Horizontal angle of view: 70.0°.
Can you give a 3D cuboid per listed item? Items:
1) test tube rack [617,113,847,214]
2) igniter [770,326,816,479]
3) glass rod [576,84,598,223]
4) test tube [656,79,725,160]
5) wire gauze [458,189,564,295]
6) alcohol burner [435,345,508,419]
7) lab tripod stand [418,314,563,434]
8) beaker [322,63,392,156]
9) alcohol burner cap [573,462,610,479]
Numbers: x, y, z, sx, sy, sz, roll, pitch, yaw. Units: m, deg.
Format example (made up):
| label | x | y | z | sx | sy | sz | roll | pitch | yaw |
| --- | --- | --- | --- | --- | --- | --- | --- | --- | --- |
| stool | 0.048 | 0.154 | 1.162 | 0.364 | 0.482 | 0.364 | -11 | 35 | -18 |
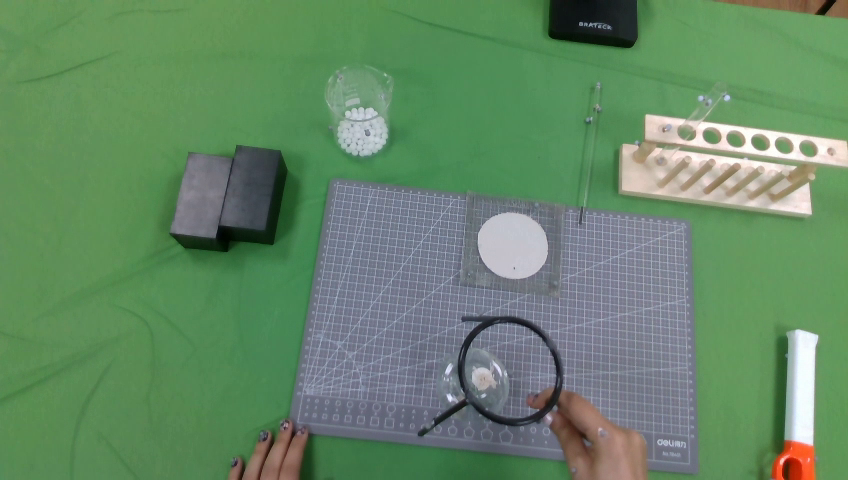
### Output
| label | x | y | z | sx | sy | sz | roll | pitch | yaw |
| --- | --- | --- | --- | --- | --- | --- | --- | --- | --- |
| test tube rack | 0.370 | -0.091 | 0.739 | 0.242 | 0.085 | 0.066 | 7 | 71 | -1 |
| igniter | 0.411 | 0.232 | 0.669 | 0.057 | 0.025 | 0.275 | 17 | 72 | -9 |
| glass rod | 0.209 | -0.114 | 0.775 | 0.008 | 0.008 | 0.198 | 12 | 73 | 0 |
| test tube | 0.302 | -0.134 | 0.696 | 0.017 | 0.151 | 0.017 | 1 | 68 | -2 |
| wire gauze | 0.105 | -0.001 | 0.730 | 0.125 | 0.011 | 0.120 | 8 | 71 | 0 |
| alcohol burner | 0.052 | 0.144 | 0.625 | 0.078 | 0.119 | 0.077 | 2 | 70 | -5 |
| lab tripod stand | 0.059 | 0.123 | 0.556 | 0.149 | 0.132 | 0.147 | 3 | 68 | -7 |
| beaker | -0.076 | -0.152 | 0.721 | 0.084 | 0.101 | 0.073 | -31 | 77 | -13 |
| alcohol burner cap | 0.179 | 0.252 | 0.640 | 0.034 | 0.048 | 0.033 | 1 | 71 | -2 |
